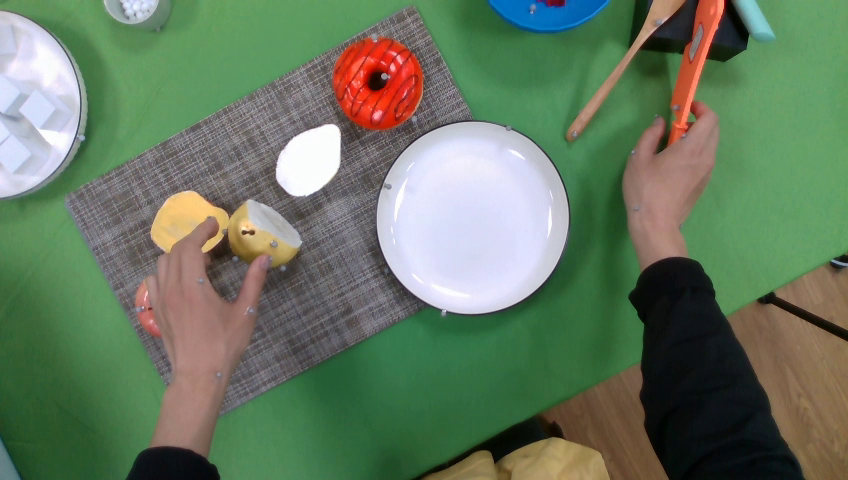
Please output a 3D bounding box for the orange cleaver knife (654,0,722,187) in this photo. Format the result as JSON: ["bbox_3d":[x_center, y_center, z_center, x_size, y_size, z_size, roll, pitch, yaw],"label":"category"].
[{"bbox_3d":[0.267,-0.160,0.622,0.012,0.076,0.213,8,119,6],"label":"orange cleaver knife"}]

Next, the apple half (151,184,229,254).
[{"bbox_3d":[-0.255,-0.017,0.663,0.081,0.033,0.080,3,70,-6],"label":"apple half"}]

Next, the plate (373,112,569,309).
[{"bbox_3d":[0.050,-0.031,0.654,0.209,0.038,0.209,0,93,1],"label":"plate"}]

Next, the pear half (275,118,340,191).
[{"bbox_3d":[-0.120,-0.091,0.659,0.070,0.031,0.088,37,85,12],"label":"pear half"}]

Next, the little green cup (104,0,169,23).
[{"bbox_3d":[-0.310,-0.267,0.656,0.061,0.038,0.061,0,93,2],"label":"little green cup"}]

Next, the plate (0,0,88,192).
[{"bbox_3d":[-0.468,-0.156,0.667,0.207,0.039,0.207,0,93,2],"label":"plate"}]

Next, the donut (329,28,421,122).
[{"bbox_3d":[-0.052,-0.175,0.646,0.099,0.048,0.099,0,95,4],"label":"donut"}]

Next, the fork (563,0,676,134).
[{"bbox_3d":[0.207,-0.195,0.620,0.028,0.018,0.208,30,114,-7],"label":"fork"}]

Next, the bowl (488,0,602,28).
[{"bbox_3d":[0.121,-0.286,0.622,0.151,0.077,0.151,0,94,2],"label":"bowl"}]

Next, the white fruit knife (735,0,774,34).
[{"bbox_3d":[0.291,-0.295,0.598,0.027,0.016,0.207,-27,90,-26],"label":"white fruit knife"}]

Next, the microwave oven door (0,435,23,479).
[{"bbox_3d":[-0.490,0.248,0.570,0.039,0.243,0.356,-26,92,3],"label":"microwave oven door"}]

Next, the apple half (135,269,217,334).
[{"bbox_3d":[-0.270,0.072,0.652,0.081,0.074,0.053,26,97,-4],"label":"apple half"}]

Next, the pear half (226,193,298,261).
[{"bbox_3d":[-0.177,-0.007,0.627,0.076,0.110,0.056,39,94,3],"label":"pear half"}]
